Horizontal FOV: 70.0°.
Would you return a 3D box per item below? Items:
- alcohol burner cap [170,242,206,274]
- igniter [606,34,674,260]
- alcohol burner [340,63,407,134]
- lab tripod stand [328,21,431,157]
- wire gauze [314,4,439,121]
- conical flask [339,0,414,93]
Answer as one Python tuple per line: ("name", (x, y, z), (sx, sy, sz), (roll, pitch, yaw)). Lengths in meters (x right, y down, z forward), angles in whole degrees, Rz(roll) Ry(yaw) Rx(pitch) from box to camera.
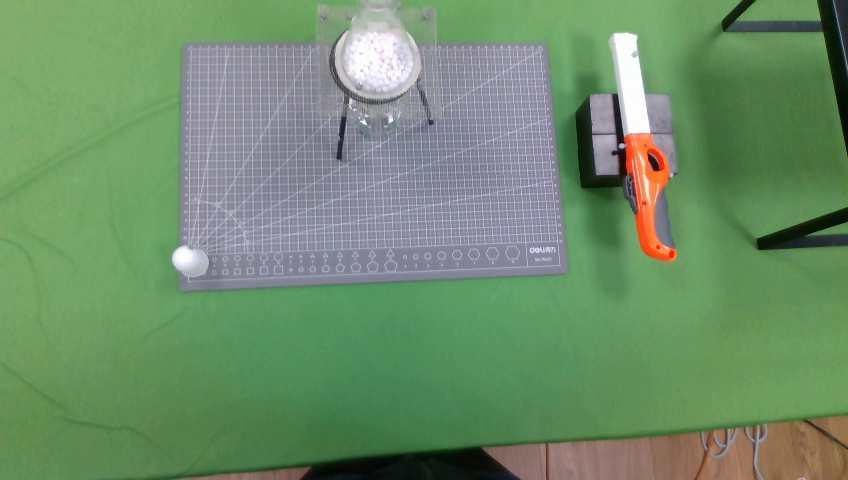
("alcohol burner cap", (-0.261, 0.017, 0.663), (0.034, 0.048, 0.033), (2, 77, -7))
("igniter", (0.249, -0.111, 0.706), (0.057, 0.025, 0.275), (-3, 77, -10))
("alcohol burner", (-0.057, -0.166, 0.683), (0.078, 0.119, 0.077), (1, 80, -4))
("lab tripod stand", (-0.060, -0.172, 0.674), (0.148, 0.132, 0.147), (1, 79, -4))
("wire gauze", (-0.047, -0.181, 0.610), (0.125, 0.011, 0.121), (1, 81, -8))
("conical flask", (-0.043, -0.193, 0.552), (0.075, 0.122, 0.075), (1, 77, -4))
